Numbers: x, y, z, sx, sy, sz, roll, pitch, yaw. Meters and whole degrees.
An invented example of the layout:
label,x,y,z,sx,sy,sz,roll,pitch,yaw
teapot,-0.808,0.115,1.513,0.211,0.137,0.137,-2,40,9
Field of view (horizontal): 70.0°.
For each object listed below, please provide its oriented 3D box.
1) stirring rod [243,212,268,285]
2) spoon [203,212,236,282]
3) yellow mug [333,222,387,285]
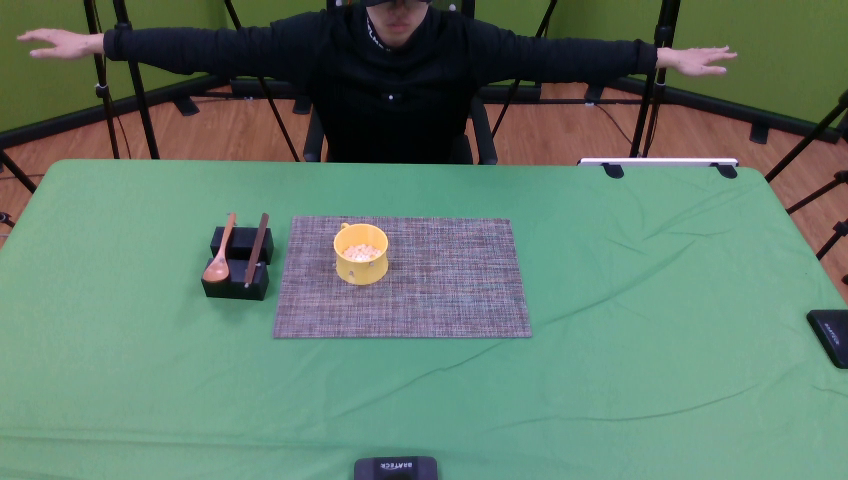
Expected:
label,x,y,z,sx,sy,sz,roll,pitch,yaw
stirring rod,-0.305,0.012,1.101,0.014,0.006,0.175,31,38,-28
spoon,-0.361,0.009,1.097,0.041,0.022,0.192,0,44,-3
yellow mug,-0.127,0.016,1.139,0.100,0.064,0.130,-23,51,-24
